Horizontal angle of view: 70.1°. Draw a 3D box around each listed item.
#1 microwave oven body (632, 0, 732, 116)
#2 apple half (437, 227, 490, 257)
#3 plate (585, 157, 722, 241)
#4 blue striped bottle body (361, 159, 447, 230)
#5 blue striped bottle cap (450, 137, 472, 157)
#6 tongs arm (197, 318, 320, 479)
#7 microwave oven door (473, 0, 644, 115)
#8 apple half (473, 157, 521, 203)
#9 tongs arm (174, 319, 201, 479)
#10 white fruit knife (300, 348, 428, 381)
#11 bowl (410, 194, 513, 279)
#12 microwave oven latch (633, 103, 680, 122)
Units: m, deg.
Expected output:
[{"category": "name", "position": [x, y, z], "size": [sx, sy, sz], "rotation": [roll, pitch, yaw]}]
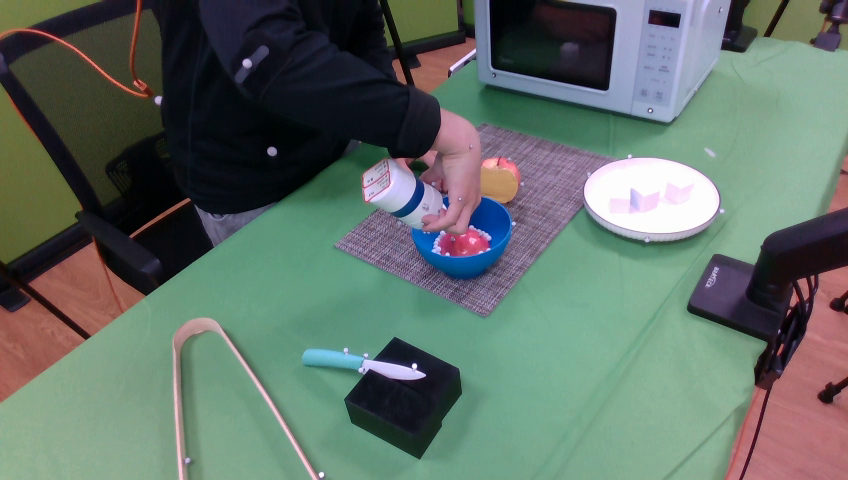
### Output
[{"category": "microwave oven body", "position": [0.377, -0.463, 1.267], "size": [0.438, 0.261, 0.327], "rotation": [21, 49, 30]}, {"category": "apple half", "position": [0.056, 0.001, 0.901], "size": [0.081, 0.033, 0.081], "rotation": [-2, 42, 2]}, {"category": "plate", "position": [0.367, -0.063, 0.979], "size": [0.207, 0.039, 0.206], "rotation": [-4, 40, 4]}, {"category": "blue striped bottle body", "position": [-0.021, -0.056, 0.817], "size": [0.063, 0.122, 0.063], "rotation": [-23, 53, 35]}, {"category": "blue striped bottle cap", "position": [0.071, -0.180, 1.168], "size": [0.044, 0.021, 0.044], "rotation": [-4, 42, 4]}, {"category": "tongs arm", "position": [-0.200, 0.207, 0.750], "size": [0.028, 0.028, 0.384], "rotation": [-31, 45, -22]}, {"category": "microwave oven door", "position": [0.257, -0.396, 1.199], "size": [0.353, 0.245, 0.039], "rotation": [21, 48, 29]}, {"category": "apple half", "position": [0.128, -0.107, 1.030], "size": [0.080, 0.075, 0.053], "rotation": [5, 38, 20]}, {"category": "tongs arm", "position": [-0.272, 0.234, 0.723], "size": [0.051, 0.026, 0.381], "rotation": [-19, 40, -14]}, {"category": "white fruit knife", "position": [-0.080, 0.154, 0.748], "size": [0.206, 0.027, 0.016], "rotation": [1, 21, 34]}, {"category": "bowl", "position": [0.058, 0.005, 0.905], "size": [0.151, 0.077, 0.150], "rotation": [-4, 40, 4]}, {"category": "microwave oven latch", "position": [0.444, -0.249, 1.158], "size": [0.078, 0.029, 0.030], "rotation": [21, 49, 30]}]
